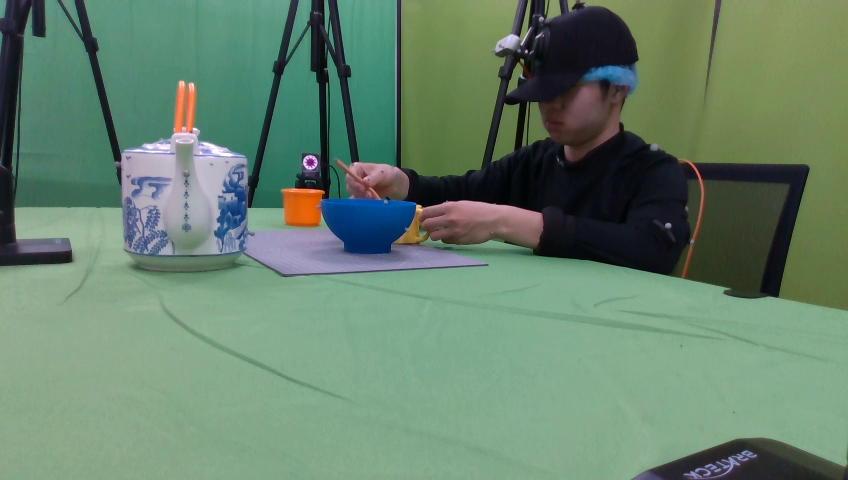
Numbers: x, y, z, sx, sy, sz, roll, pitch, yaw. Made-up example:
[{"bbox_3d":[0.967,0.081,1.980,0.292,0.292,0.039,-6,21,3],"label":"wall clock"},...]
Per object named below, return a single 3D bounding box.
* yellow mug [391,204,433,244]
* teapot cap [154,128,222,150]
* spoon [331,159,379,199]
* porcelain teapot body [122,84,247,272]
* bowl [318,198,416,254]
[{"bbox_3d":[-0.042,-0.030,1.070,0.130,0.064,0.100,7,8,28],"label":"yellow mug"},{"bbox_3d":[-0.294,-0.117,0.754,0.085,0.044,0.085,4,9,0],"label":"teapot cap"},{"bbox_3d":[-0.093,-0.078,1.085,0.194,0.021,0.041,47,10,-5],"label":"spoon"},{"bbox_3d":[-0.286,-0.075,0.733,0.146,0.225,0.204,0,8,-24],"label":"porcelain teapot body"},{"bbox_3d":[-0.089,-0.022,0.941,0.151,0.077,0.151,2,7,0],"label":"bowl"}]
